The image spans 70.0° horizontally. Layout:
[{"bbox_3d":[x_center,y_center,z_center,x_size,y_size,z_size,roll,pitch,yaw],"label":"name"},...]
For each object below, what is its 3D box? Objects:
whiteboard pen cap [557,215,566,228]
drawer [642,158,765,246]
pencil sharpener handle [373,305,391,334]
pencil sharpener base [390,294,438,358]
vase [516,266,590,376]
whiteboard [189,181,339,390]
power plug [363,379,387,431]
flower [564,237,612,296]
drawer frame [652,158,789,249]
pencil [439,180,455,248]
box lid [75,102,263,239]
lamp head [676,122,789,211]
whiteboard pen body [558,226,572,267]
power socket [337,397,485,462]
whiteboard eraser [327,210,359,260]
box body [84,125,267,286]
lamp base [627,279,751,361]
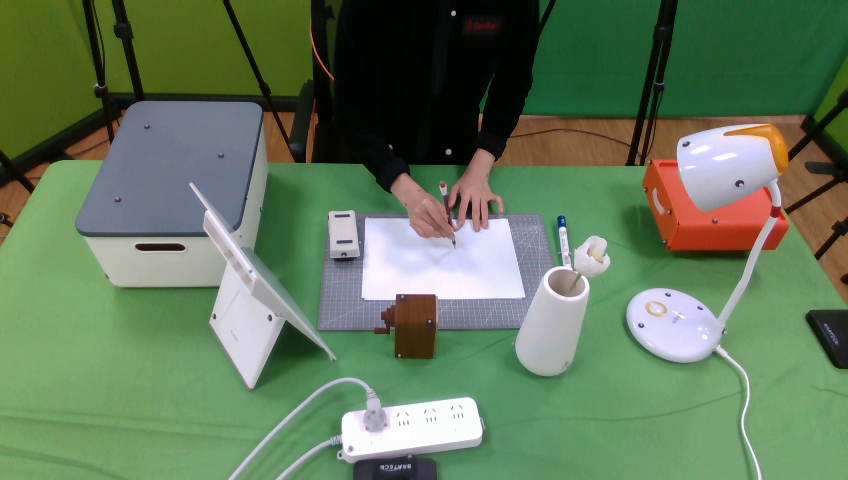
[{"bbox_3d":[0.284,-0.035,1.246,0.018,0.018,0.033,4,52,-1],"label":"whiteboard pen cap"},{"bbox_3d":[0.565,-0.076,1.211,0.212,0.073,0.193,2,45,-2],"label":"drawer"},{"bbox_3d":[-0.068,0.133,0.989,0.030,0.068,0.036,1,47,-2],"label":"pencil sharpener handle"},{"bbox_3d":[-0.018,0.143,1.000,0.077,0.107,0.061,1,46,-2],"label":"pencil sharpener base"},{"bbox_3d":[0.208,0.132,0.964,0.098,0.201,0.097,3,46,-3],"label":"vase"},{"bbox_3d":[-0.292,0.096,0.929,0.144,0.307,0.216,-37,57,-10],"label":"whiteboard"},{"bbox_3d":[-0.072,0.252,0.910,0.035,0.053,0.072,3,45,-1],"label":"power plug"},{"bbox_3d":[0.206,0.088,0.893,0.038,0.363,0.044,-17,67,-9],"label":"flower"},{"bbox_3d":[0.571,-0.075,1.214,0.214,0.083,0.200,0,45,-1],"label":"drawer frame"},{"bbox_3d":[0.045,-0.043,1.119,0.012,0.195,0.012,-5,52,7],"label":"pencil"},{"bbox_3d":[-0.443,-0.138,1.094,0.263,0.015,0.369,-1,47,-5],"label":"box lid"},{"bbox_3d":[0.423,-0.104,0.819,0.122,0.113,0.112,-13,33,40],"label":"lamp head"},{"bbox_3d":[0.280,0.010,1.208,0.017,0.017,0.140,3,50,-1],"label":"whiteboard pen body"},{"bbox_3d":[-0.018,0.285,0.915,0.227,0.033,0.071,-5,46,-8],"label":"power socket"},{"bbox_3d":[-0.158,-0.009,1.177,0.055,0.042,0.112,-6,47,-7],"label":"whiteboard eraser"},{"bbox_3d":[-0.446,-0.088,1.150,0.254,0.161,0.361,-1,46,-5],"label":"box body"},{"bbox_3d":[0.459,0.100,1.027,0.178,0.181,0.160,27,51,17],"label":"lamp base"}]
